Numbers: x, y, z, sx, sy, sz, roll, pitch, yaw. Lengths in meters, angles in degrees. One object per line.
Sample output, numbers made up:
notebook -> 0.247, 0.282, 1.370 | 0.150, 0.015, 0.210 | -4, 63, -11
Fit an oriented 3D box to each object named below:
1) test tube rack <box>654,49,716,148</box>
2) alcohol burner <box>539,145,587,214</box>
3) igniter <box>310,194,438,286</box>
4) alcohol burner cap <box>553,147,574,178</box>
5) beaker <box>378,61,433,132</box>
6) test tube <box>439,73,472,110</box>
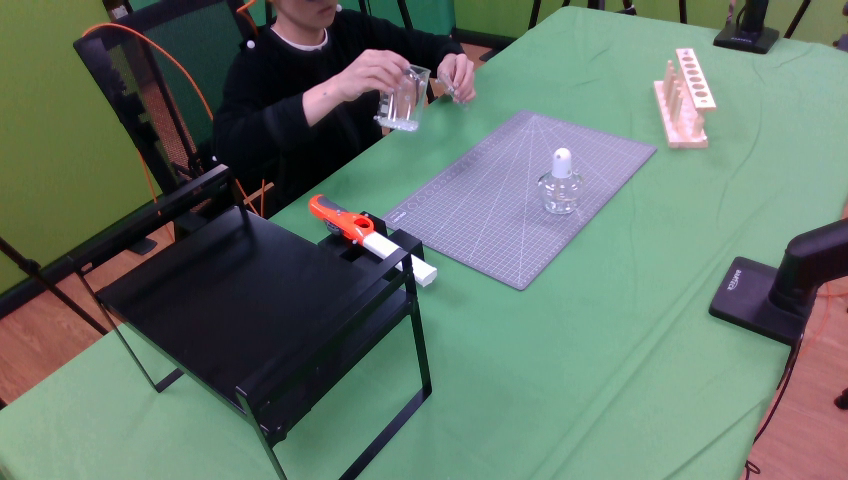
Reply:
test tube rack -> 0.502, -0.281, 1.176 | 0.066, 0.085, 0.241 | 1, 41, 11
alcohol burner -> 0.226, -0.102, 0.986 | 0.078, 0.119, 0.077 | -6, 41, 6
igniter -> -0.087, -0.007, 0.921 | 0.274, 0.025, 0.057 | 31, 50, 34
alcohol burner cap -> 0.224, -0.125, 0.965 | 0.034, 0.048, 0.033 | -5, 44, 5
beaker -> -0.030, -0.229, 0.971 | 0.073, 0.100, 0.084 | 16, 12, 20
test tube -> 0.062, -0.275, 1.133 | 0.017, 0.151, 0.017 | -4, 79, 22
